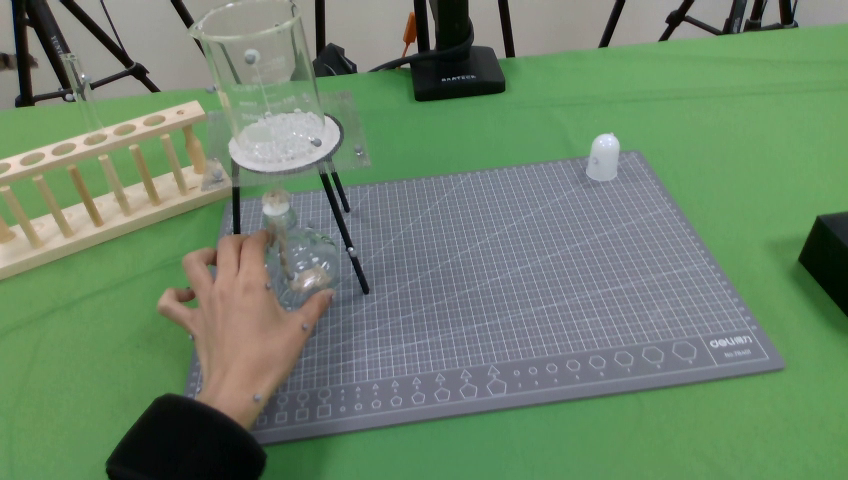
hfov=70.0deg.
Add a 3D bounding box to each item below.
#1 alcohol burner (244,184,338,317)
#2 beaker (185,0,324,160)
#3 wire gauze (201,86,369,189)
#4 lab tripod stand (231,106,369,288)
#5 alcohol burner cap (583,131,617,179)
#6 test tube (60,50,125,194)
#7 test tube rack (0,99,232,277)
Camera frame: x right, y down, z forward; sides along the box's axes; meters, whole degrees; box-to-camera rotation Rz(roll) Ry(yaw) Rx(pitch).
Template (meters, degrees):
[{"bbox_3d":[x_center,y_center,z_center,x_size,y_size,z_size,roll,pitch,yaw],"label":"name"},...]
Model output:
[{"bbox_3d":[-0.112,0.006,0.494,0.078,0.120,0.077,-3,40,3],"label":"alcohol burner"},{"bbox_3d":[-0.119,-0.117,0.444,0.084,0.101,0.073,-6,41,1],"label":"beaker"},{"bbox_3d":[-0.112,-0.083,0.480,0.125,0.011,0.120,-13,40,-4],"label":"wire gauze"},{"bbox_3d":[-0.108,-0.034,0.524,0.148,0.133,0.147,-3,44,3],"label":"lab tripod stand"},{"bbox_3d":[0.183,-0.090,0.626,0.034,0.048,0.033,-3,42,3],"label":"alcohol burner cap"},{"bbox_3d":[-0.323,-0.110,0.595,0.017,0.151,0.017,0,36,1],"label":"test tube"},{"bbox_3d":[-0.327,-0.056,0.610,0.243,0.086,0.066,-24,45,-20],"label":"test tube rack"}]
